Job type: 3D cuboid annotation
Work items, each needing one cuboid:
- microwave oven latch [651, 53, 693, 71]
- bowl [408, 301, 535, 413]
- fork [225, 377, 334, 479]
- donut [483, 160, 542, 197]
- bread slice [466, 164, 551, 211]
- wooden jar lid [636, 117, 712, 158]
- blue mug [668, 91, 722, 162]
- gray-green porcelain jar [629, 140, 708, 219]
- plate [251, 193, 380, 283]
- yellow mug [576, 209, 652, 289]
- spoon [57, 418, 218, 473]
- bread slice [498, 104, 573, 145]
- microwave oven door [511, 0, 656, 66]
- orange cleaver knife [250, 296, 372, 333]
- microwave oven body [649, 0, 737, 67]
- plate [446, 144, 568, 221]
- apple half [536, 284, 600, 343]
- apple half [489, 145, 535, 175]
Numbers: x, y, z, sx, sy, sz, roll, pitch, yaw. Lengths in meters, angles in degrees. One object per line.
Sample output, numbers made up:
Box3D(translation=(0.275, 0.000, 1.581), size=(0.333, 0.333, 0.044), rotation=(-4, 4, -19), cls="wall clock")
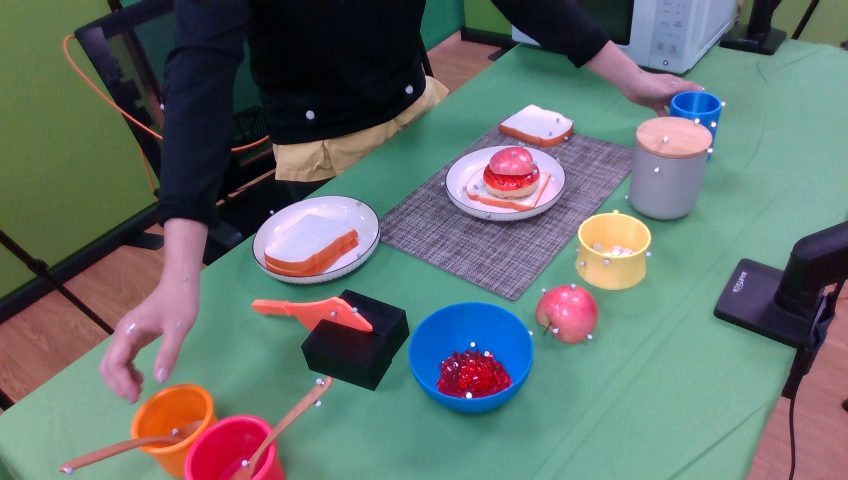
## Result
Box3D(translation=(0.532, -0.387, 1.301), size=(0.078, 0.029, 0.030), rotation=(27, 52, 34), cls="microwave oven latch")
Box3D(translation=(0.060, 0.156, 0.739), size=(0.151, 0.077, 0.150), rotation=(-4, 40, 4), cls="bowl")
Box3D(translation=(-0.163, 0.216, 0.647), size=(0.207, 0.019, 0.028), rotation=(-49, 42, 16), cls="fork")
Box3D(translation=(0.149, -0.110, 1.015), size=(0.099, 0.048, 0.098), rotation=(-4, 41, 4), cls="donut")
Box3D(translation=(0.140, -0.092, 1.043), size=(0.133, 0.018, 0.107), rotation=(10, 43, 18), cls="bread slice")
Box3D(translation=(0.377, -0.151, 0.917), size=(0.108, 0.021, 0.108), rotation=(-2, 41, 2), cls="wooden jar lid")
Box3D(translation=(0.473, -0.207, 1.079), size=(0.082, 0.106, 0.116), rotation=(3, 42, 11), cls="blue mug")
Box3D(translation=(0.383, -0.105, 0.958), size=(0.106, 0.127, 0.105), rotation=(-4, 41, 4), cls="gray-green porcelain jar")
Box3D(translation=(-0.173, -0.001, 0.985), size=(0.209, 0.038, 0.208), rotation=(-4, 41, 4), cls="plate")
Box3D(translation=(0.279, 0.004, 0.893), size=(0.099, 0.064, 0.130), rotation=(6, 42, 14), cls="yellow mug")
Box3D(translation=(-0.304, 0.221, 0.661), size=(0.041, 0.195, 0.021), rotation=(20, 92, 27), cls="spoon")
Box3D(translation=(0.231, -0.231, 1.206), size=(0.105, 0.019, 0.130), rotation=(-36, 47, -28), cls="bread slice")
Box3D(translation=(0.351, -0.540, 1.349), size=(0.353, 0.245, 0.039), rotation=(24, 50, 31), cls="microwave oven door")
Box3D(translation=(-0.158, 0.103, 0.828), size=(0.210, 0.078, 0.012), rotation=(-3, 44, 39), cls="orange cleaver knife")
Box3D(translation=(0.475, -0.602, 1.411), size=(0.438, 0.261, 0.327), rotation=(23, 50, 32), cls="microwave oven body")
Box3D(translation=(0.142, -0.096, 1.045), size=(0.207, 0.039, 0.206), rotation=(-4, 40, 4), cls="plate")
Box3D(translation=(0.196, 0.091, 0.815), size=(0.075, 0.053, 0.080), rotation=(-22, 42, -20), cls="apple half")
Box3D(translation=(0.145, -0.138, 0.995), size=(0.081, 0.033, 0.081), rotation=(-2, 34, 2), cls="apple half")
